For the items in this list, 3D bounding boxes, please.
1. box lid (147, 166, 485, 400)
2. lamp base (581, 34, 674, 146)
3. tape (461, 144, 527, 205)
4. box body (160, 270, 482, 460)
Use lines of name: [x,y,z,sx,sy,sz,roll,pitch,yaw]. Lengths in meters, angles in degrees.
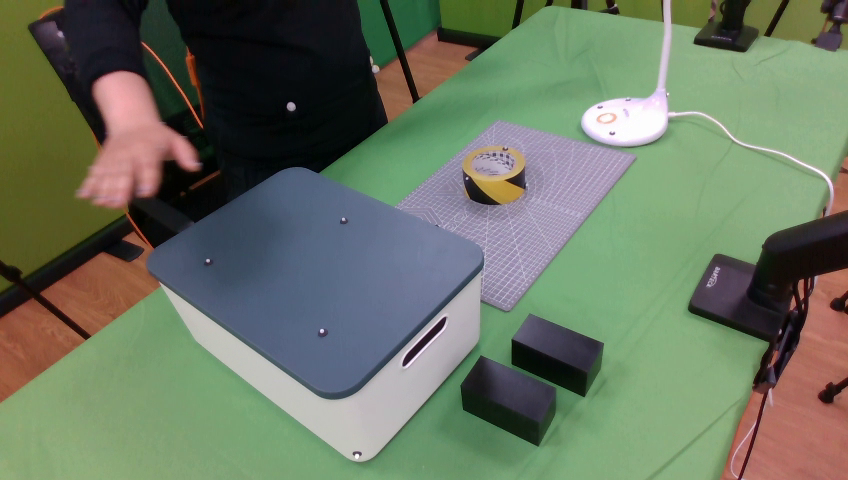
box lid: [-0.136,0.025,0.738,0.368,0.015,0.264,25,50,32]
lamp base: [0.392,-0.291,1.129,0.180,0.181,0.159,-11,41,-8]
tape: [0.124,-0.116,1.058,0.117,0.053,0.116,-4,42,4]
box body: [-0.130,0.079,0.787,0.361,0.161,0.255,25,50,32]
